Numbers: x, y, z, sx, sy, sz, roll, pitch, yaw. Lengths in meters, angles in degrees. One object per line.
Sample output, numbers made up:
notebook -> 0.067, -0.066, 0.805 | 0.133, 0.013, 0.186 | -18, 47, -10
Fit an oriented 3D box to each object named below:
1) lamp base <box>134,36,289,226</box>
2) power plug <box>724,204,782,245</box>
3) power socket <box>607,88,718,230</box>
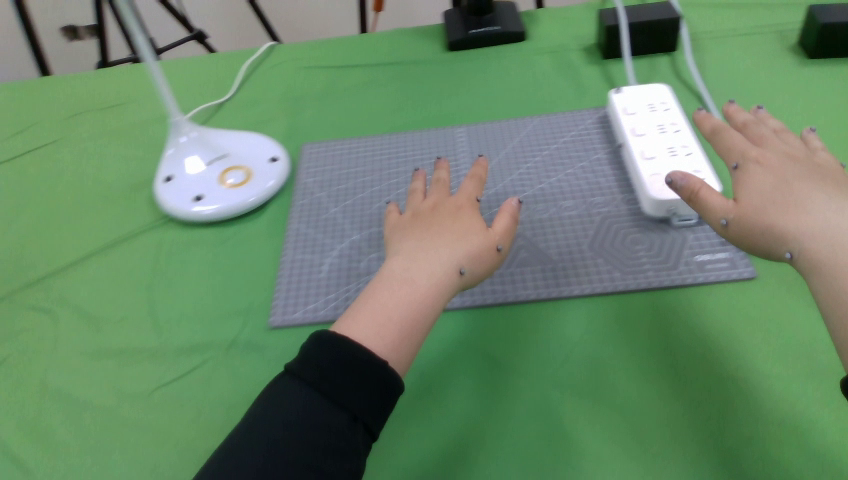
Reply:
lamp base -> -0.262, -0.133, 0.684 | 0.177, 0.182, 0.160 | 23, 52, 32
power plug -> 0.314, -0.016, 0.587 | 0.052, 0.035, 0.072 | 6, 10, 12
power socket -> 0.254, -0.099, 0.664 | 0.072, 0.033, 0.224 | -4, 44, 5
